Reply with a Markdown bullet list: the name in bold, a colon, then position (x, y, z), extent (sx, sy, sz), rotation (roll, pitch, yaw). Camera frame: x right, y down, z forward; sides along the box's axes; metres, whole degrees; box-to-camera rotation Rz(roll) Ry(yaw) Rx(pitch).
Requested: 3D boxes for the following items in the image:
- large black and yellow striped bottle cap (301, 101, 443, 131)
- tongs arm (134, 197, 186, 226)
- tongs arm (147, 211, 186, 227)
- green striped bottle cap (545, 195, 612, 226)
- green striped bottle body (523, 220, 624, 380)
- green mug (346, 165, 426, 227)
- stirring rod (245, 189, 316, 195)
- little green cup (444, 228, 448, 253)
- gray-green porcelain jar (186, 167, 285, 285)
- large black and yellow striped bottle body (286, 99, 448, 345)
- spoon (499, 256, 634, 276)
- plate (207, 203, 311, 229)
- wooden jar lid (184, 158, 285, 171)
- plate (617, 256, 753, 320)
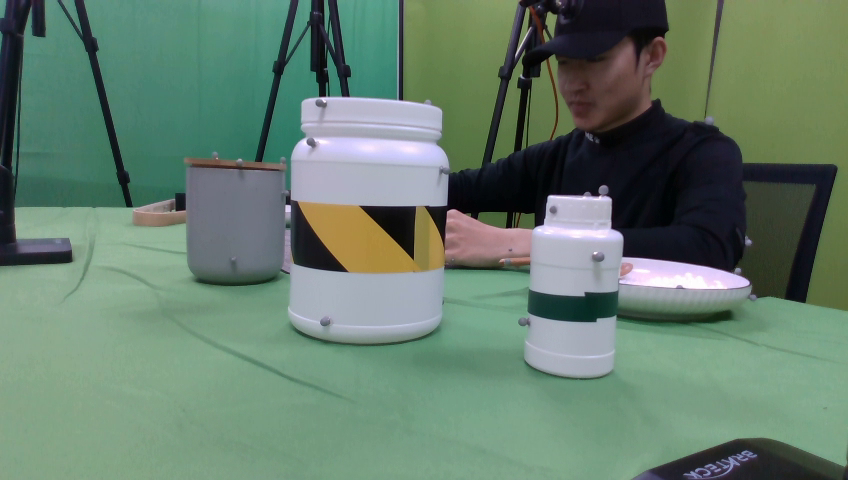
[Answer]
- **large black and yellow striped bottle cap**: position (-0.042, -0.100, 0.491), extent (0.115, 0.019, 0.115), rotation (1, 8, 0)
- **tongs arm**: position (-0.556, -0.066, 1.320), extent (0.051, 0.026, 0.384), rotation (7, 7, -5)
- **tongs arm**: position (-0.478, -0.059, 1.321), extent (0.028, 0.028, 0.388), rotation (12, 8, 7)
- **green striped bottle cap**: position (0.106, -0.020, 0.414), extent (0.044, 0.020, 0.044), rotation (2, 4, 0)
- **green striped bottle body**: position (0.104, 0.031, 0.421), extent (0.063, 0.119, 0.063), rotation (2, 7, 0)
- **green mug**: position (-0.053, -0.075, 0.957), extent (0.104, 0.092, 0.125), rotation (11, 32, 21)
- **stirring rod**: position (-0.351, -0.119, 1.489), extent (0.177, 0.014, 0.006), rotation (-2, 6, -29)
- **little green cup**: position (0.007, 0.002, 0.920), extent (0.061, 0.038, 0.061), rotation (-2, 5, 0)
- **gray-green porcelain jar**: position (-0.212, -0.017, 0.682), extent (0.106, 0.126, 0.106), rotation (2, 7, 0)
- **large black and yellow striped bottle body**: position (-0.047, -0.018, 0.501), extent (0.131, 0.184, 0.130), rotation (2, 7, 0)
- **spoon**: position (0.162, 0.027, 0.679), extent (0.195, 0.021, 0.041), rotation (8, 2, -30)
- **plate**: position (-0.342, -0.050, 1.259), extent (0.208, 0.039, 0.207), rotation (2, 7, 0)
- **wooden jar lid**: position (-0.210, -0.078, 0.674), extent (0.108, 0.020, 0.108), rotation (5, 6, 0)
- **plate**: position (0.234, 0.049, 0.650), extent (0.209, 0.038, 0.209), rotation (2, 7, 0)
